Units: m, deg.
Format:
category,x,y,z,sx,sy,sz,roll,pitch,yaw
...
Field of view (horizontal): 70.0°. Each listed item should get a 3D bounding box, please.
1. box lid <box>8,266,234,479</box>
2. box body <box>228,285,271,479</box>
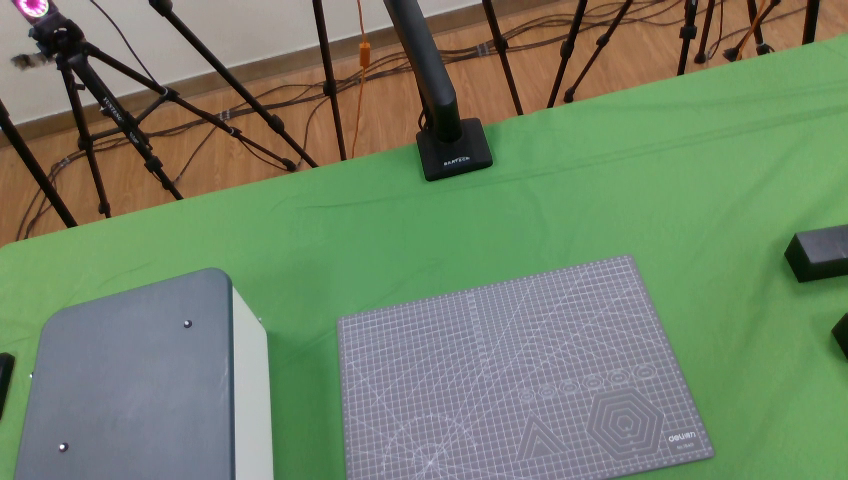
category,x,y,z,sx,sy,sz,roll,pitch,yaw
box lid,-0.351,0.208,0.708,0.263,0.015,0.367,-15,56,1
box body,-0.339,0.251,0.768,0.254,0.162,0.360,-15,55,1
